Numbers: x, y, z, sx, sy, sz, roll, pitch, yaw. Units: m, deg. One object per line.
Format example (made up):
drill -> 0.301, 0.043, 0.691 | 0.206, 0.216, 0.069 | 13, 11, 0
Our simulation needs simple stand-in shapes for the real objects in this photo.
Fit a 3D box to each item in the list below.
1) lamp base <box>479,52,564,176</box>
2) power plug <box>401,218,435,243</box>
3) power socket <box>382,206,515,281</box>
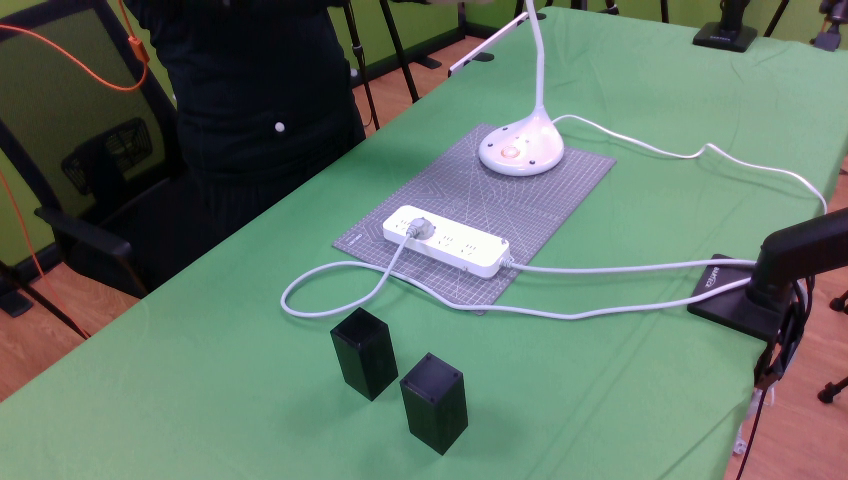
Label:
lamp base -> 0.181, -0.235, 1.094 | 0.159, 0.181, 0.179 | 18, 44, 27
power plug -> -0.015, -0.006, 0.937 | 0.073, 0.053, 0.035 | -37, 47, -26
power socket -> 0.032, 0.002, 0.950 | 0.225, 0.033, 0.072 | 21, 49, 29
